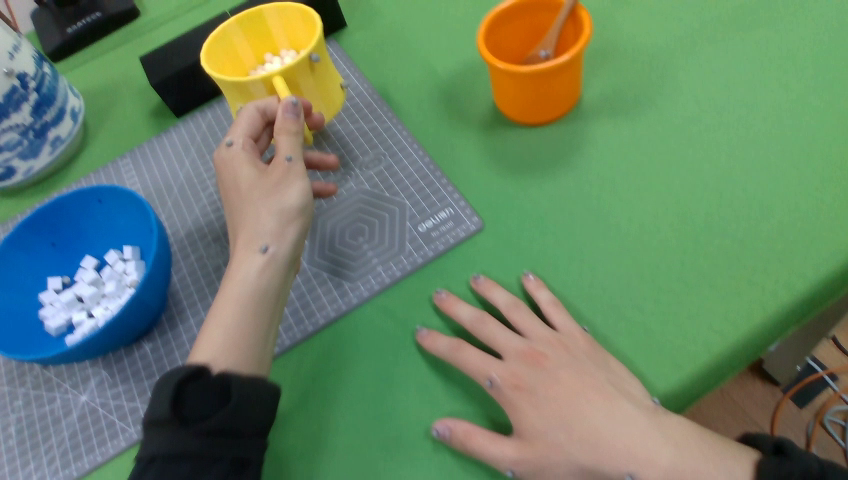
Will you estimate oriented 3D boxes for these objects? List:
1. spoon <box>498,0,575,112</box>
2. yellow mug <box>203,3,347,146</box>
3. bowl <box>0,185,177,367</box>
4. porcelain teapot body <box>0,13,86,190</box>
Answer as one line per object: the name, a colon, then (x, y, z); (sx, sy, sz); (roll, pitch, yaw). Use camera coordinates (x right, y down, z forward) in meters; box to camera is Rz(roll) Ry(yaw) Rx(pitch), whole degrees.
spoon: (0.117, -0.189, 0.490); (0.022, 0.194, 0.041); (-7, 47, -45)
yellow mug: (-0.114, -0.127, 0.491); (0.100, 0.064, 0.129); (-25, 54, -5)
bowl: (-0.257, 0.039, 0.484); (0.151, 0.077, 0.150); (-6, 58, 10)
porcelain teapot body: (-0.468, -0.143, 0.559); (0.205, 0.227, 0.143); (-27, 58, -2)
